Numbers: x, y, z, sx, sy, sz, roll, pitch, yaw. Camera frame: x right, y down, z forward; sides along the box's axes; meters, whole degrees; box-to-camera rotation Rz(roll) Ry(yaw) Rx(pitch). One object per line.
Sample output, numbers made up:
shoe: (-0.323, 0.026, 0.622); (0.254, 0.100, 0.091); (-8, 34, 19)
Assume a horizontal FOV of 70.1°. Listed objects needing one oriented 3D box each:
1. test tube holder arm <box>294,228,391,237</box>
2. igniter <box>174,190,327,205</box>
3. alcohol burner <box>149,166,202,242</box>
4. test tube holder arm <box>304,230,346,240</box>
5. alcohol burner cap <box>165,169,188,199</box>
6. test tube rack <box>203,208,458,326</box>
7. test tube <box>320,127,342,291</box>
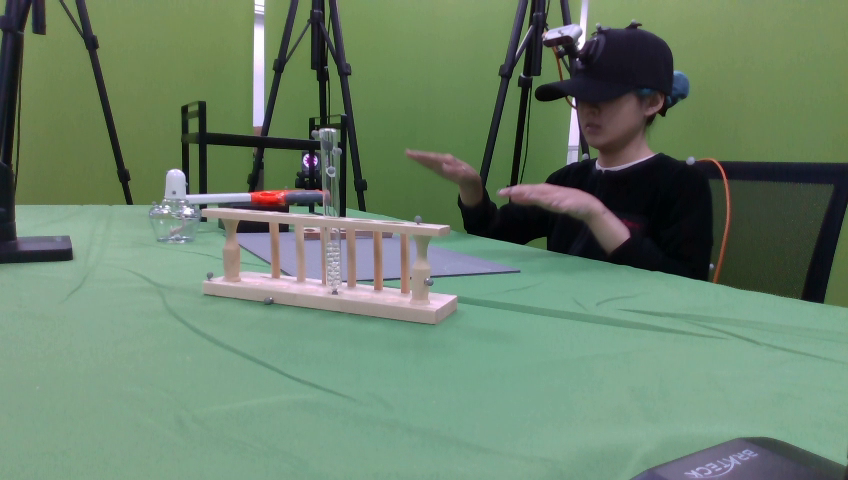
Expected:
test tube holder arm: (-0.138, -0.013, 1.054); (0.179, 0.015, 0.013); (-1, 44, -32)
igniter: (-0.317, -0.079, 1.132); (0.278, 0.025, 0.057); (-4, 13, -32)
alcohol burner: (-0.388, -0.056, 0.947); (0.078, 0.119, 0.078); (5, 6, 0)
test tube holder arm: (-0.175, -0.009, 1.027); (0.088, 0.015, 0.010); (0, 43, -31)
alcohol burner cap: (-0.386, -0.087, 0.943); (0.034, 0.048, 0.034); (4, 8, 0)
test tube rack: (-0.090, 0.019, 0.579); (0.241, 0.085, 0.067); (5, 7, 19)
test tube: (-0.084, -0.027, 0.554); (0.017, 0.150, 0.017); (-1, 6, 0)
